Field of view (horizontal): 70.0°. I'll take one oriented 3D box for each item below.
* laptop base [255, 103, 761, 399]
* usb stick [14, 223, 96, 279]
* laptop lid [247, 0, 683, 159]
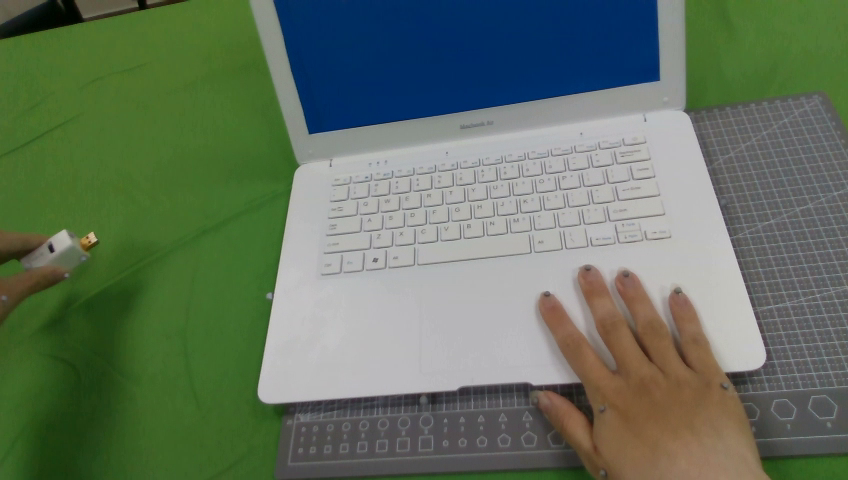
[{"bbox_3d":[0.047,0.003,0.483,0.354,0.023,0.233,-7,58,10],"label":"laptop base"},{"bbox_3d":[-0.311,0.006,0.515,0.059,0.027,0.021,-35,61,-12],"label":"usb stick"},{"bbox_3d":[0.028,-0.196,0.499,0.356,0.243,0.013,-8,25,10],"label":"laptop lid"}]
